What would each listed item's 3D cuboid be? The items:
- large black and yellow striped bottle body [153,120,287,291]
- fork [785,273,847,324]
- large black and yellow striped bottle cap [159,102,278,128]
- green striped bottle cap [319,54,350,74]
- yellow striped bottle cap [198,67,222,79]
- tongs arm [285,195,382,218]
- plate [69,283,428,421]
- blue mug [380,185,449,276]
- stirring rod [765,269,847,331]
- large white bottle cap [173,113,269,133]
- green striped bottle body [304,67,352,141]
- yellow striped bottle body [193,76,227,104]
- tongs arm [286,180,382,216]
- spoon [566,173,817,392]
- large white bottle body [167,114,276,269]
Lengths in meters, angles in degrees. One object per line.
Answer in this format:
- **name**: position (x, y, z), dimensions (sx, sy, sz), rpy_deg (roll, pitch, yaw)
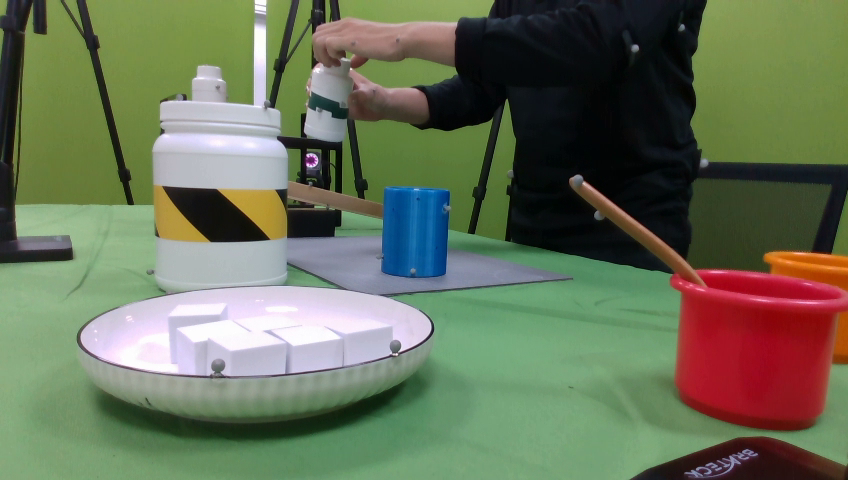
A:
- **large black and yellow striped bottle body**: position (-0.208, -0.042, 0.626), dimensions (0.131, 0.184, 0.130), rpy_deg (2, 7, 0)
- **fork**: position (0.332, 0.018, 0.444), dimensions (0.028, 0.018, 0.207), rpy_deg (-2, -35, -15)
- **large black and yellow striped bottle cap**: position (-0.207, -0.125, 0.615), dimensions (0.115, 0.019, 0.115), rpy_deg (2, 6, 0)
- **green striped bottle cap**: position (-0.134, -0.264, 0.906), dimensions (0.044, 0.020, 0.044), rpy_deg (12, 21, -4)
- **yellow striped bottle cap**: position (-0.411, -0.320, 1.163), dimensions (0.044, 0.018, 0.044), rpy_deg (0, 6, 0)
- **tongs arm**: position (-0.165, -0.074, 1.216), dimensions (0.389, 0.027, 0.028), rpy_deg (11, -6, -24)
- **plate**: position (-0.102, 0.066, 0.380), dimensions (0.208, 0.039, 0.207), rpy_deg (2, 7, 0)
- **blue mug**: position (-0.018, -0.016, 0.764), dimensions (0.083, 0.106, 0.116), rpy_deg (-2, 8, -25)
- **stirring rod**: position (0.352, 0.020, 0.484), dimensions (0.176, 0.006, 0.014), rpy_deg (-40, -6, 13)
- **large white bottle cap**: position (-0.254, -0.146, 0.760), dimensions (0.115, 0.018, 0.115), rpy_deg (1, 7, 0)
- **green striped bottle body**: position (-0.145, -0.216, 0.923), dimensions (0.063, 0.119, 0.063), rpy_deg (10, 19, -3)
- **yellow striped bottle body**: position (-0.414, -0.268, 1.169), dimensions (0.063, 0.120, 0.063), rpy_deg (2, 7, 0)
- **tongs arm**: position (-0.122, -0.066, 1.147), dimensions (0.387, 0.026, 0.050), rpy_deg (11, -3, -37)
- **spoon**: position (0.161, 0.024, 0.370), dimensions (0.193, 0.021, 0.042), rpy_deg (47, 18, 3)
- **large white bottle body**: position (-0.256, -0.063, 0.772), dimensions (0.131, 0.184, 0.130), rpy_deg (2, 7, 0)
